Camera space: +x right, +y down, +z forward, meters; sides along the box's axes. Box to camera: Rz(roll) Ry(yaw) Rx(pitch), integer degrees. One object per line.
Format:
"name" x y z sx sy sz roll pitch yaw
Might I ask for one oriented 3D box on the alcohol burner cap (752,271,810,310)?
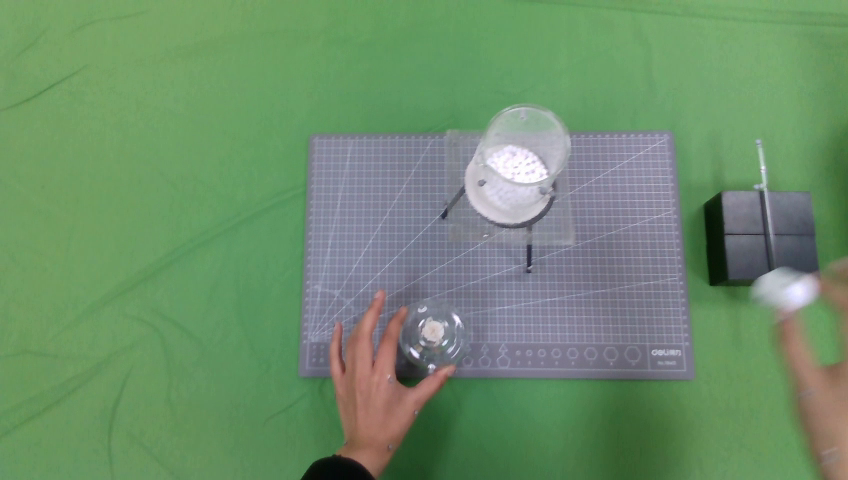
"alcohol burner cap" 0.306 0.045 0.515 0.034 0.048 0.034 0 91 4

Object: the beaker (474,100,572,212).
"beaker" 0.084 -0.070 0.554 0.084 0.101 0.073 -16 77 -2

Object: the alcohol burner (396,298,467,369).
"alcohol burner" 0.008 0.099 0.646 0.078 0.119 0.077 0 79 1

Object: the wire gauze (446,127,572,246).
"wire gauze" 0.084 -0.055 0.600 0.125 0.011 0.121 1 79 -1

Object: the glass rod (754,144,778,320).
"glass rod" 0.378 -0.012 0.669 0.008 0.008 0.199 0 78 2

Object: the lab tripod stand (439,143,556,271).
"lab tripod stand" 0.089 -0.045 0.665 0.148 0.132 0.147 0 76 2
